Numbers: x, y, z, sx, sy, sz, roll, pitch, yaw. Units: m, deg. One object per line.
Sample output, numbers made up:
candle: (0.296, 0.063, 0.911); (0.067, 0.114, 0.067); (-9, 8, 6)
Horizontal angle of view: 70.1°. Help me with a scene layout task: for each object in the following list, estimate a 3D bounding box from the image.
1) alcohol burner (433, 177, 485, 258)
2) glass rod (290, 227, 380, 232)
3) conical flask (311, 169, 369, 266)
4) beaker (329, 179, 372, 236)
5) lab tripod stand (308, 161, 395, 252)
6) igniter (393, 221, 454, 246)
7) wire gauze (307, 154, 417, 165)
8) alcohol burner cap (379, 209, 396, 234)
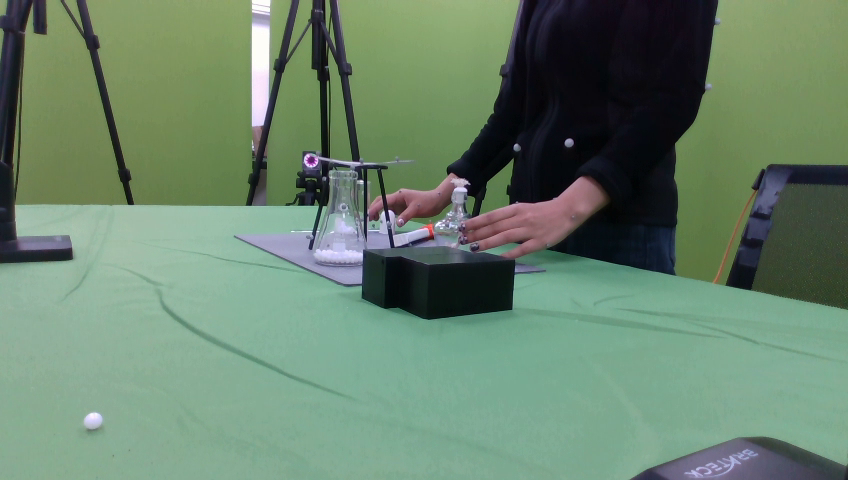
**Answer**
alcohol burner: (0.052, -0.033, 0.894); (0.078, 0.119, 0.078); (2, 10, 0)
glass rod: (-0.161, -0.022, 1.177); (0.201, 0.008, 0.008); (-2, 8, -29)
conical flask: (-0.107, -0.031, 0.786); (0.075, 0.122, 0.075); (2, 8, 0)
beaker: (-0.137, -0.061, 1.101); (0.084, 0.100, 0.074); (4, 7, 20)
lab tripod stand: (-0.098, -0.053, 0.919); (0.148, 0.131, 0.148); (4, 7, 0)
igniter: (0.003, -0.015, 1.083); (0.057, 0.025, 0.277); (-13, 2, 18)
wire gauze: (-0.094, -0.120, 0.913); (0.122, 0.011, 0.124); (-5, 11, -45)
alcohol burner cap: (-0.069, -0.036, 1.154); (0.034, 0.048, 0.034); (3, 7, 0)
